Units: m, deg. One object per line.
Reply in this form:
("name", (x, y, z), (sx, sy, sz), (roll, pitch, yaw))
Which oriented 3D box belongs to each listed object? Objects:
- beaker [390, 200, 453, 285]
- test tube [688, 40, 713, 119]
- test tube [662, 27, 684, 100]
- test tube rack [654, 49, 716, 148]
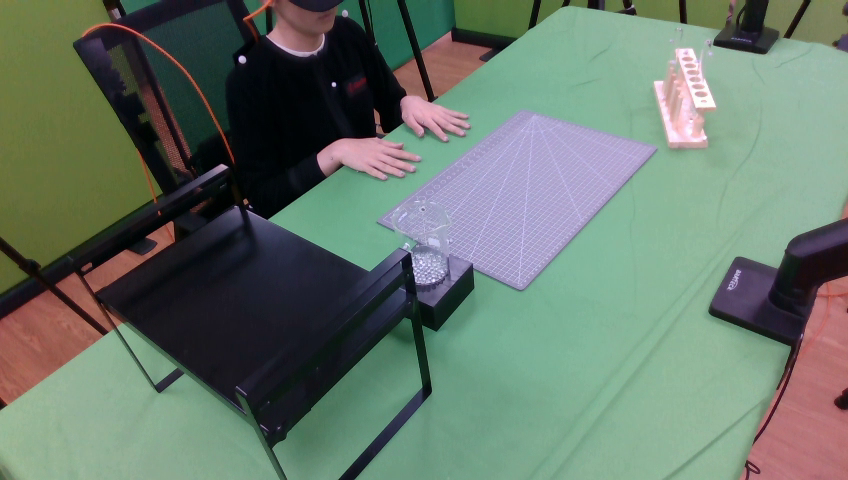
("beaker", (0.002, 0.006, 0.831), (0.084, 0.101, 0.074), (5, 42, 13))
("test tube", (0.507, -0.292, 1.111), (0.017, 0.151, 0.017), (-3, 37, 3))
("test tube", (0.486, -0.342, 1.181), (0.017, 0.151, 0.017), (-3, 42, 4))
("test tube rack", (0.502, -0.281, 1.176), (0.066, 0.085, 0.241), (2, 41, 11))
